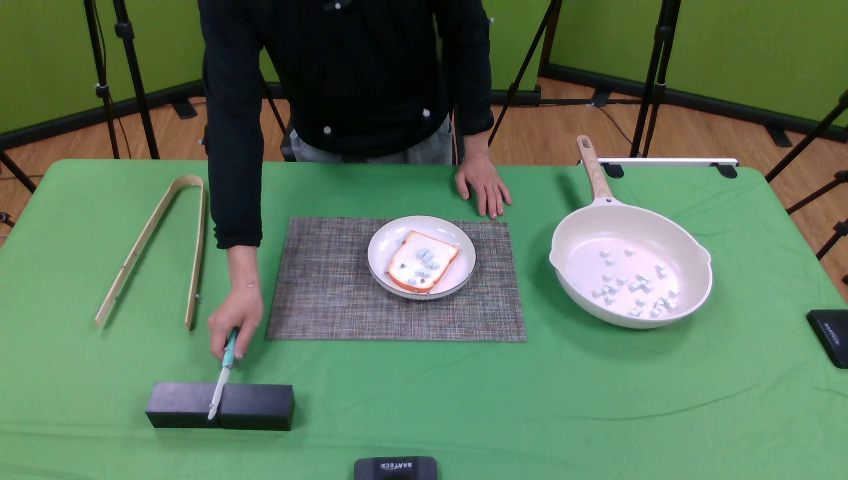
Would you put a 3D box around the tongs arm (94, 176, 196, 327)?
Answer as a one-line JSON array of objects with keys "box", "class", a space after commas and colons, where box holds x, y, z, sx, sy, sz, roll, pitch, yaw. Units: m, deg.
[{"box": [-0.515, 0.006, 1.143, 0.051, 0.026, 0.382, 4, 45, -1], "class": "tongs arm"}]

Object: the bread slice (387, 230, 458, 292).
[{"box": [-0.007, 0.043, 1.142, 0.107, 0.018, 0.134, 18, 46, 14], "class": "bread slice"}]

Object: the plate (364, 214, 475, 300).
[{"box": [-0.010, 0.036, 1.146, 0.208, 0.039, 0.206, 2, 46, -2], "class": "plate"}]

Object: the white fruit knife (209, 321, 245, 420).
[{"box": [-0.305, 0.194, 0.937, 0.016, 0.027, 0.206, -8, 34, 2], "class": "white fruit knife"}]

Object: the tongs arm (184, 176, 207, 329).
[{"box": [-0.436, 0.009, 1.150, 0.028, 0.028, 0.385, -7, 46, -7], "class": "tongs arm"}]

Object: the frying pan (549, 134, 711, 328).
[{"box": [0.372, -0.035, 1.203, 0.307, 0.103, 0.484, -1, 55, -6], "class": "frying pan"}]
